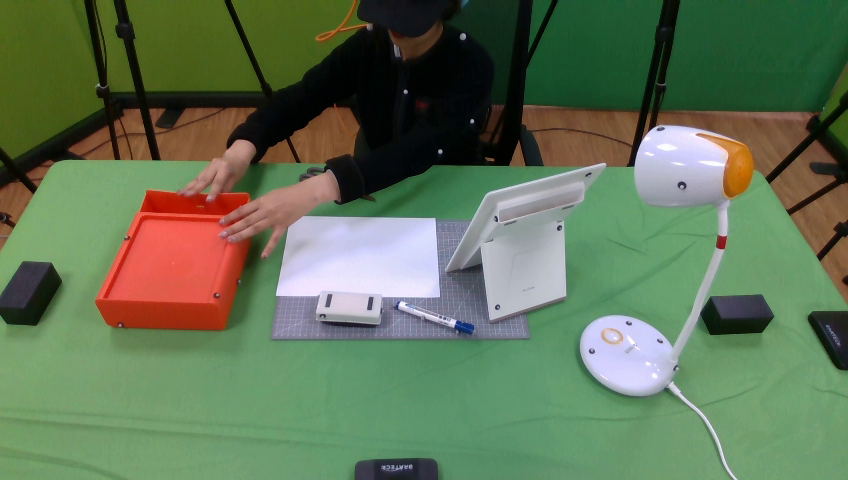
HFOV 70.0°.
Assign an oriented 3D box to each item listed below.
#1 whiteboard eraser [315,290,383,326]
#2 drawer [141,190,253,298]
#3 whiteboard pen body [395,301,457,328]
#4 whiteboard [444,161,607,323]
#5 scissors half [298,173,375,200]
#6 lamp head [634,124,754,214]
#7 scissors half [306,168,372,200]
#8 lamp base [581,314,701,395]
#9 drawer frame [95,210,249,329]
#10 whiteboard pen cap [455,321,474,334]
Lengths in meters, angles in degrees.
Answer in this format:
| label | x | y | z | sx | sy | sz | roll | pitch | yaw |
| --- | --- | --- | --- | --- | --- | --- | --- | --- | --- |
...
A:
| label | x | y | z | sx | sy | sz | roll | pitch | yaw |
| --- | --- | --- | --- | --- | --- | --- | --- | --- | --- |
| whiteboard eraser | -0.130 | 0.120 | 1.054 | 0.113 | 0.042 | 0.055 | 4 | 47 | 0 |
| drawer | -0.435 | 0.005 | 1.122 | 0.195 | 0.073 | 0.210 | 2 | 49 | -5 |
| whiteboard pen body | 0.015 | 0.134 | 1.064 | 0.140 | 0.017 | 0.017 | 17 | 47 | 16 |
| whiteboard | 0.186 | 0.025 | 1.029 | 0.217 | 0.306 | 0.143 | -14 | 68 | -18 |
| scissors half | -0.188 | -0.110 | 1.296 | 0.175 | 0.013 | 0.040 | 15 | 39 | 5 |
| lamp head | 0.351 | -0.089 | 0.775 | 0.112 | 0.113 | 0.122 | -30 | 30 | -28 |
| scissors half | -0.180 | -0.120 | 1.311 | 0.174 | 0.013 | 0.040 | 26 | 36 | 18 |
| lamp base | 0.361 | 0.144 | 0.973 | 0.178 | 0.181 | 0.160 | 34 | 53 | 23 |
| drawer frame | -0.434 | 0.049 | 1.076 | 0.202 | 0.083 | 0.212 | 2 | 46 | -3 |
| whiteboard pen cap | 0.069 | 0.151 | 1.046 | 0.033 | 0.018 | 0.018 | 14 | 47 | 16 |
